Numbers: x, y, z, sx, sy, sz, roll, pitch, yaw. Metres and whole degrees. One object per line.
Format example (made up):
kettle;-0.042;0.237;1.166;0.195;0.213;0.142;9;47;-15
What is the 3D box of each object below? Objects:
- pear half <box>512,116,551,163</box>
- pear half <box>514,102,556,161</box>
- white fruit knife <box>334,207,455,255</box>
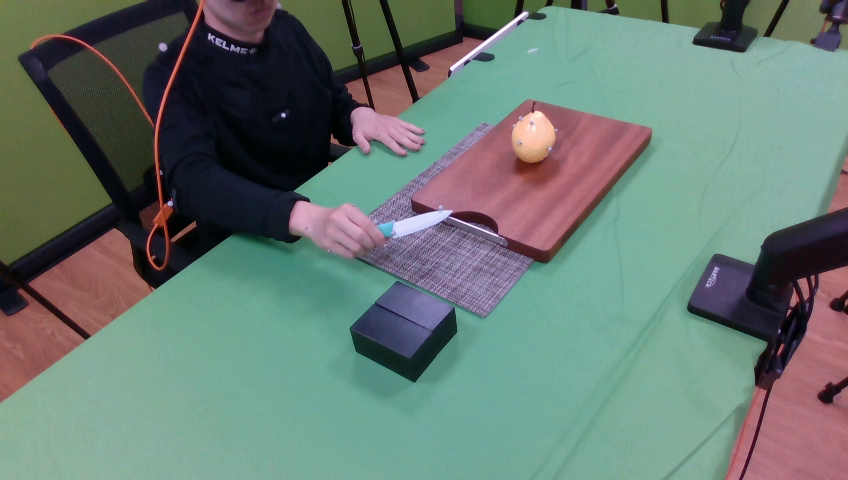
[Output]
pear half;0.182;-0.169;1.043;0.070;0.088;0.031;13;45;18
pear half;0.196;-0.198;1.060;0.076;0.110;0.056;13;44;17
white fruit knife;-0.046;-0.015;0.855;0.206;0.027;0.016;-16;13;26
